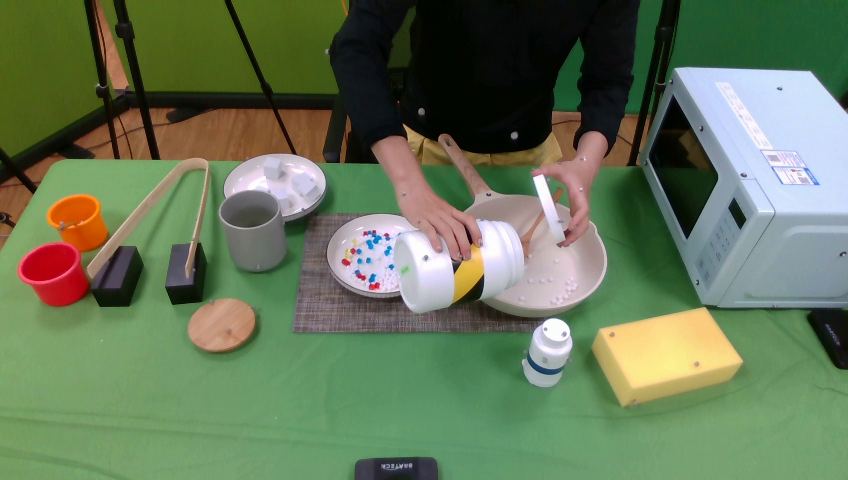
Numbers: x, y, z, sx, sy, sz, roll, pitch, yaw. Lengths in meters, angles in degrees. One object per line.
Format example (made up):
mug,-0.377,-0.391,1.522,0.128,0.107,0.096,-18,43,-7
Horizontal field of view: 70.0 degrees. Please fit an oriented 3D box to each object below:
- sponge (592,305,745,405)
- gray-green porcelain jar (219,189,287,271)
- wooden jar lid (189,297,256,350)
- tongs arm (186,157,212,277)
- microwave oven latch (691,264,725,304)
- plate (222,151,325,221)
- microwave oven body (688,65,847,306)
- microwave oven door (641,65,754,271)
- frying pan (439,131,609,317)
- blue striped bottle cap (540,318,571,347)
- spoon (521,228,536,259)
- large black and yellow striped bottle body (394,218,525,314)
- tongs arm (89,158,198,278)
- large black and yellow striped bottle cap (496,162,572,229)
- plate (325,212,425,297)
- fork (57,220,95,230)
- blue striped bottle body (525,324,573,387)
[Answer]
sponge,0.405,0.190,1.015,0.207,0.061,0.117,-10,48,-13
gray-green porcelain jar,-0.310,-0.014,1.113,0.106,0.127,0.105,2,46,-2
wooden jar lid,-0.342,0.145,1.033,0.108,0.021,0.107,3,45,-2
tongs arm,-0.445,-0.058,1.168,0.051,0.026,0.382,-5,37,-6
microwave oven latch,0.521,0.081,1.116,0.030,0.029,0.078,0,46,-3
plate,-0.310,-0.106,1.262,0.208,0.039,0.206,2,47,-2
microwave oven body,0.669,-0.111,1.176,0.326,0.261,0.439,0,46,-3
microwave oven door,0.525,-0.148,1.193,0.039,0.245,0.353,-1,47,-2
frying pan,0.149,-0.049,1.190,0.307,0.103,0.484,-17,58,-20
blue striped bottle cap,0.203,0.142,0.933,0.044,0.021,0.044,3,49,-4
spoon,0.225,-0.034,1.188,0.041,0.022,0.193,31,79,26
large black and yellow striped bottle body,0.056,0.036,0.968,0.184,0.131,0.130,-11,48,-18
tongs arm,-0.529,-0.058,1.164,0.028,0.028,0.385,1,36,8
large black and yellow striped bottle cap,0.169,-0.070,0.935,0.115,0.019,0.114,-7,58,12
plate,-0.080,0.030,1.143,0.209,0.038,0.208,3,46,-2
fork,-0.624,-0.027,1.087,0.028,0.207,0.018,-3,92,-17
blue striped bottle body,0.201,0.178,0.970,0.063,0.121,0.062,1,46,-1
